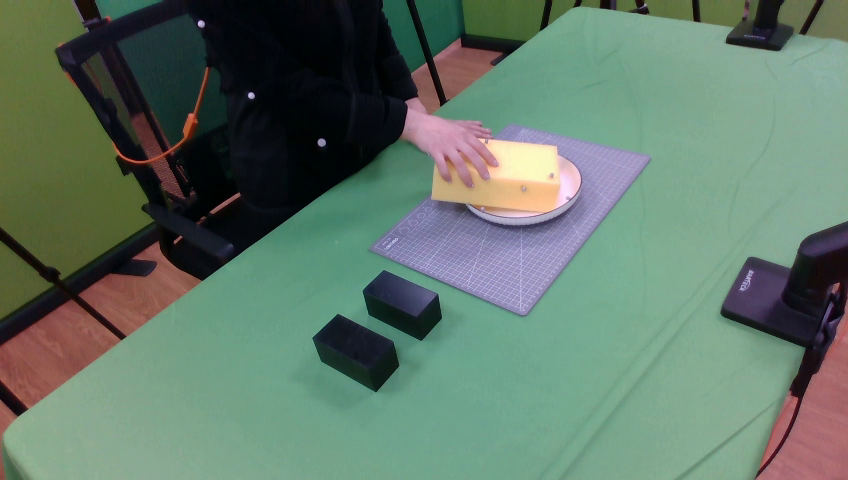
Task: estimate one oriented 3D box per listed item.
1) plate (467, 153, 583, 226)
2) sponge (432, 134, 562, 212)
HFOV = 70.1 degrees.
[{"bbox_3d":[0.167,-0.089,1.043,0.209,0.038,0.208,-5,40,5],"label":"plate"},{"bbox_3d":[0.122,-0.114,1.024,0.207,0.061,0.118,6,42,1],"label":"sponge"}]
